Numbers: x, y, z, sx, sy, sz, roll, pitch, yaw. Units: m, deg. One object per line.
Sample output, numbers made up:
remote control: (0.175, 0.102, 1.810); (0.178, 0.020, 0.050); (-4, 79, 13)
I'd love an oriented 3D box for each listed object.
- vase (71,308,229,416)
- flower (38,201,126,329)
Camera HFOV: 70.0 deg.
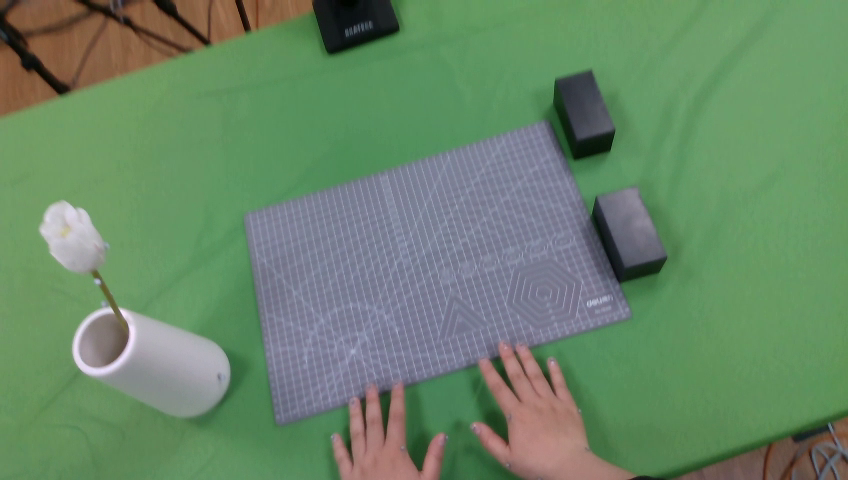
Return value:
vase: (-0.301, 0.138, 0.685); (0.098, 0.201, 0.097); (-3, 65, 6)
flower: (-0.299, 0.092, 0.615); (0.038, 0.364, 0.043); (-25, 58, -22)
